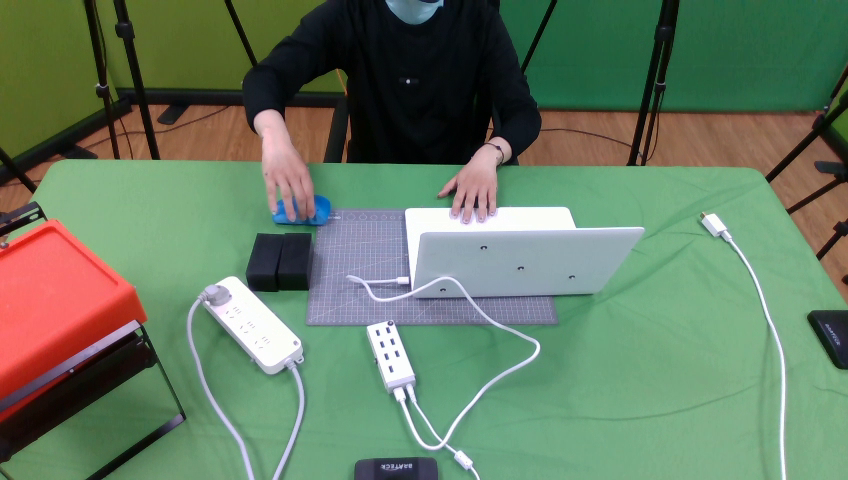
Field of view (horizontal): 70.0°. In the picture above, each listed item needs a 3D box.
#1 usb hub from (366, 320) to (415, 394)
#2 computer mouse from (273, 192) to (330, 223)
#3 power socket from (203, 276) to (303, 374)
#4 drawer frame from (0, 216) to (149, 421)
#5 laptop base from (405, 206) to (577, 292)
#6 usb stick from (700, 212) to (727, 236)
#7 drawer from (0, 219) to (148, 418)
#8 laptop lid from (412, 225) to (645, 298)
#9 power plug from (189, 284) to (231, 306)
[{"bbox_3d":[-0.056,0.192,1.009,0.049,0.025,0.124,-12,49,-16],"label":"usb hub"},{"bbox_3d":[-0.249,-0.065,1.224,0.117,0.041,0.062,-4,46,7],"label":"computer mouse"},{"bbox_3d":[-0.296,0.141,1.034,0.072,0.033,0.225,-35,58,-30],"label":"power socket"},{"bbox_3d":[-0.510,0.093,0.780,0.201,0.083,0.213,31,52,23],"label":"drawer frame"},{"bbox_3d":[0.143,0.018,1.196,0.355,0.023,0.234,-1,43,-6],"label":"laptop base"},{"bbox_3d":[0.606,-0.038,1.273,0.027,0.021,0.059,-18,56,-20],"label":"usb stick"},{"bbox_3d":[-0.509,0.093,0.783,0.193,0.073,0.211,32,53,24],"label":"drawer"},{"bbox_3d":[0.161,0.042,1.012,0.357,0.242,0.013,0,59,-7],"label":"laptop lid"},{"bbox_3d":[-0.368,0.100,1.037,0.072,0.053,0.035,-24,54,-26],"label":"power plug"}]
